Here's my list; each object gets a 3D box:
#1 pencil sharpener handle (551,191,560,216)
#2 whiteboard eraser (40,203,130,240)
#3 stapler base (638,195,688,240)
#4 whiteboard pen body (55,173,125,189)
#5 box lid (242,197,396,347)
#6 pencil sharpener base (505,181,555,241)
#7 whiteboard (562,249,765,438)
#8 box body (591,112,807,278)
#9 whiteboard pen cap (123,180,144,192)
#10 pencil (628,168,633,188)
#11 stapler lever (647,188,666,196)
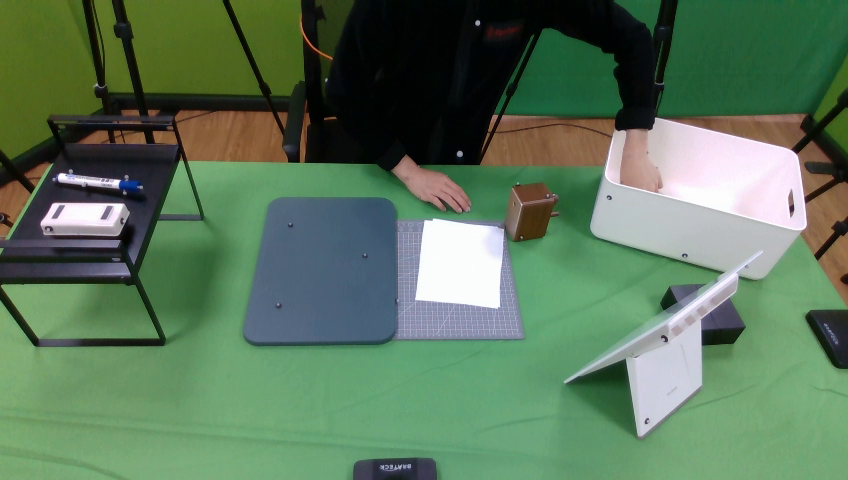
[{"bbox_3d":[0.262,-0.074,1.213,0.031,0.068,0.035,-9,46,-13],"label":"pencil sharpener handle"},{"bbox_3d":[-0.513,-0.028,0.922,0.113,0.042,0.055,1,48,-3],"label":"whiteboard eraser"},{"bbox_3d":[0.508,-0.055,1.280,0.041,0.024,0.129,-16,49,-15],"label":"stapler base"},{"bbox_3d":[-0.539,-0.095,0.998,0.141,0.017,0.017,6,46,6],"label":"whiteboard pen body"},{"bbox_3d":[-0.186,0.046,1.147,0.263,0.015,0.369,0,46,-3],"label":"box lid"},{"bbox_3d":[0.212,-0.058,1.210,0.077,0.107,0.061,-9,47,-13],"label":"pencil sharpener base"},{"bbox_3d":[0.386,0.175,0.905,0.217,0.306,0.143,-26,72,-26],"label":"whiteboard"},{"bbox_3d":[0.540,-0.092,1.230,0.363,0.161,0.253,16,47,11],"label":"box body"},{"bbox_3d":[-0.479,-0.089,0.993,0.033,0.018,0.018,7,46,14],"label":"whiteboard pen cap"},{"bbox_3d":[0.439,-0.070,1.264,0.012,0.012,0.193,3,61,-2],"label":"pencil"},{"bbox_3d":[0.506,-0.073,1.262,0.027,0.040,0.117,-16,48,-15],"label":"stapler lever"}]
